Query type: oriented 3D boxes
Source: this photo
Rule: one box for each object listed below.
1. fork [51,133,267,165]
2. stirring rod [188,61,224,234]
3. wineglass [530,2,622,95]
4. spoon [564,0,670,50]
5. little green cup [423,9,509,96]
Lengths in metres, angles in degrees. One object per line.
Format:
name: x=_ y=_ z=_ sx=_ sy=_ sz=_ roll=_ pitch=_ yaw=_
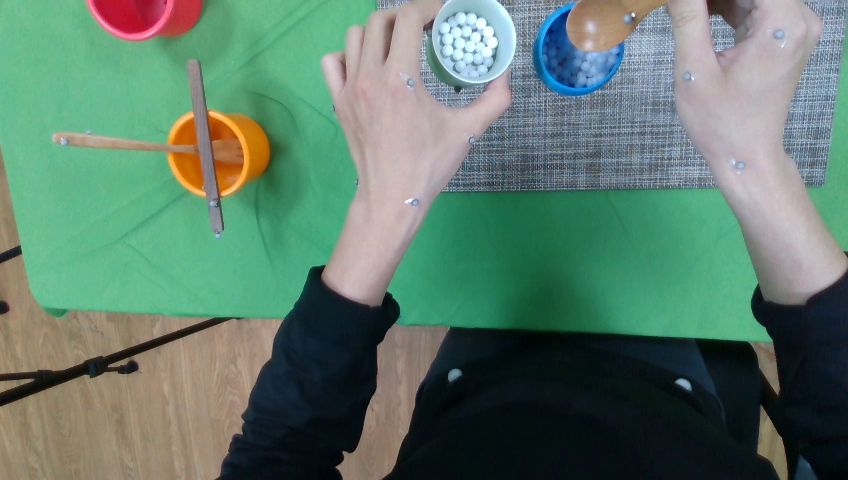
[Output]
fork: x=-0.267 y=-0.096 z=0.631 sx=0.208 sy=0.018 sz=0.028 roll=-1 pitch=118 yaw=-36
stirring rod: x=-0.224 y=-0.092 z=0.624 sx=0.014 sy=0.006 sz=0.177 roll=0 pitch=105 yaw=10
wineglass: x=0.129 y=-0.165 z=0.533 sx=0.073 sy=0.171 sz=0.074 roll=2 pitch=105 yaw=9
spoon: x=0.152 y=-0.151 z=0.365 sx=0.021 sy=0.192 sz=0.042 roll=-35 pitch=107 yaw=-17
little green cup: x=0.030 y=-0.140 z=0.448 sx=0.061 sy=0.038 sz=0.062 roll=-1 pitch=114 yaw=-1
